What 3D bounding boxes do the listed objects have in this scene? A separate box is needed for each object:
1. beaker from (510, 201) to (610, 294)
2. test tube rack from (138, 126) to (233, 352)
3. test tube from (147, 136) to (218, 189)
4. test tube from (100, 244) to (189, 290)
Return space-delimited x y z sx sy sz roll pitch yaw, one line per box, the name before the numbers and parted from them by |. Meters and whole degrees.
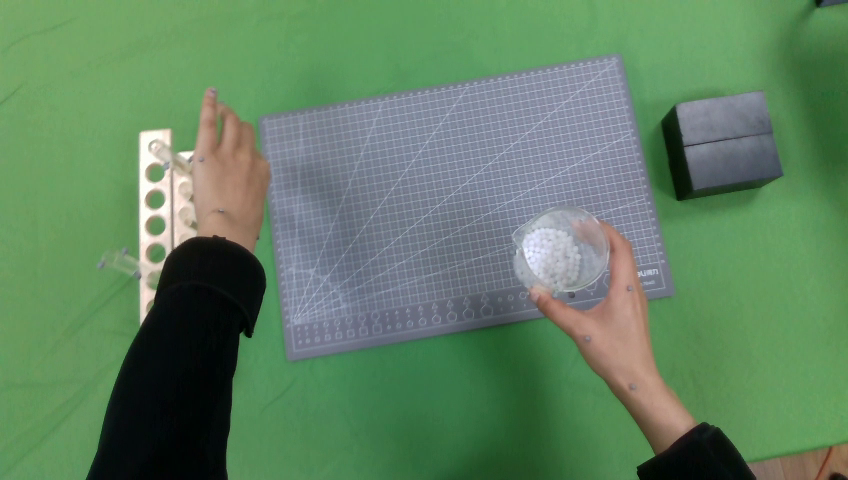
beaker | 0.116 0.011 0.556 0.084 0.100 0.074 16 81 4
test tube rack | -0.267 0.001 0.682 0.067 0.085 0.241 -5 81 2
test tube | -0.256 -0.081 0.650 0.017 0.151 0.017 0 80 2
test tube | -0.284 0.031 0.628 0.017 0.151 0.017 -1 74 6
